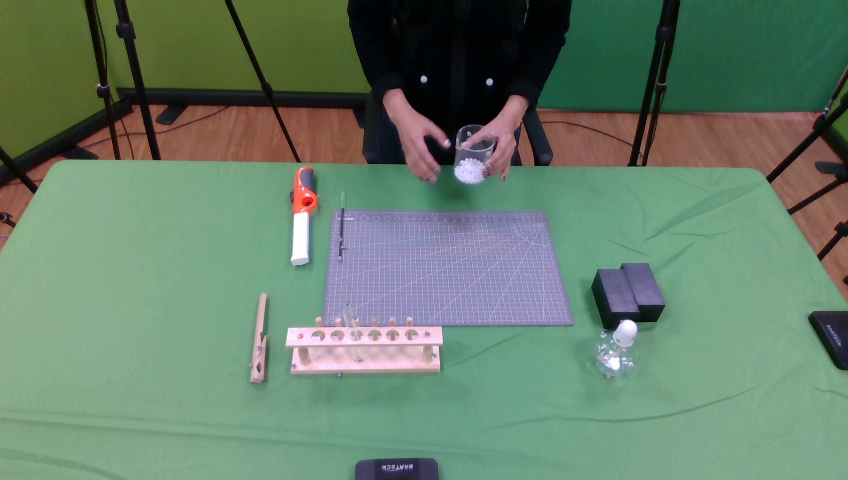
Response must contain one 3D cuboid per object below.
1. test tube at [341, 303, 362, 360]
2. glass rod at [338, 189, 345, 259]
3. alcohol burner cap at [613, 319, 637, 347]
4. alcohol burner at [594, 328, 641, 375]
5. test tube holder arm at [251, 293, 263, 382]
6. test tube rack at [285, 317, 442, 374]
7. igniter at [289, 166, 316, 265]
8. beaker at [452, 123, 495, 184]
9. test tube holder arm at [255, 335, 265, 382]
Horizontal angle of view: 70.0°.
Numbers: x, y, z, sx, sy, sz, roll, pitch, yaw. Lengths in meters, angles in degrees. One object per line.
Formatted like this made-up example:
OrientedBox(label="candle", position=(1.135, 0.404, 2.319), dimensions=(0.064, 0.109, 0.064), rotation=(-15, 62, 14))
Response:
OrientedBox(label="test tube", position=(-0.111, 0.145, 0.938), dimensions=(0.017, 0.151, 0.017), rotation=(-1, 50, 2))
OrientedBox(label="glass rod", position=(-0.166, -0.037, 1.227), dimensions=(0.008, 0.008, 0.198), rotation=(-1, 47, -4))
OrientedBox(label="alcohol burner cap", position=(0.323, 0.146, 0.966), dimensions=(0.034, 0.048, 0.033), rotation=(-1, 52, 2))
OrientedBox(label="alcohol burner", position=(0.322, 0.170, 0.994), dimensions=(0.078, 0.119, 0.077), rotation=(3, 48, -3))
OrientedBox(label="test tube holder arm", position=(-0.281, 0.160, 1.025), dimensions=(0.013, 0.015, 0.177), rotation=(23, 36, -32))
OrientedBox(label="test tube rack", position=(-0.095, 0.166, 0.988), dimensions=(0.242, 0.085, 0.066), rotation=(0, 46, -4))
OrientedBox(label="igniter", position=(-0.248, -0.058, 1.233), dimensions=(0.057, 0.025, 0.274), rotation=(-9, 47, 1))
OrientedBox(label="beaker", position=(0.091, -0.165, 1.180), dimensions=(0.084, 0.101, 0.073), rotation=(-24, 57, -21))
OrientedBox(label="test tube holder arm", position=(-0.270, 0.193, 0.997), dimensions=(0.010, 0.015, 0.087), rotation=(24, 36, -32))
